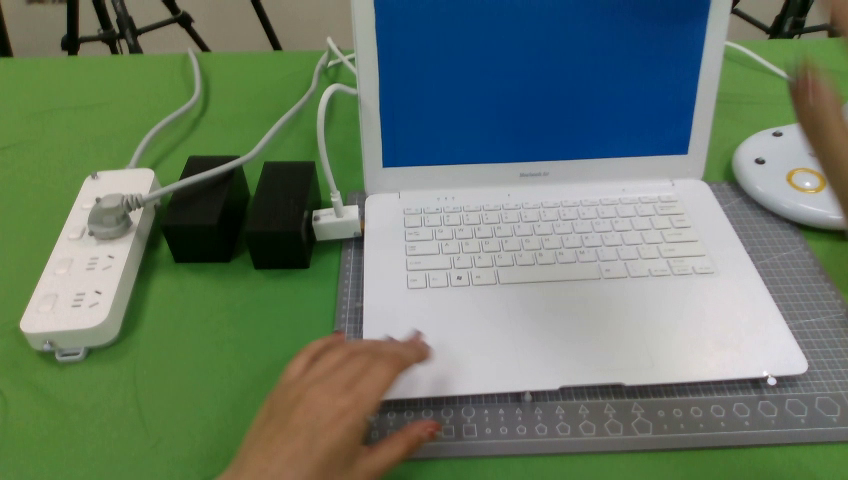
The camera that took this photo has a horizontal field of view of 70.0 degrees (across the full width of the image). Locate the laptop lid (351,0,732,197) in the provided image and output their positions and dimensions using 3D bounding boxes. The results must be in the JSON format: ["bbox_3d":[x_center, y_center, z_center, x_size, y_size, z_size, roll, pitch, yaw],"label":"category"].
[{"bbox_3d":[0.112,-0.157,0.582,0.357,0.243,0.013,-4,24,-2],"label":"laptop lid"}]

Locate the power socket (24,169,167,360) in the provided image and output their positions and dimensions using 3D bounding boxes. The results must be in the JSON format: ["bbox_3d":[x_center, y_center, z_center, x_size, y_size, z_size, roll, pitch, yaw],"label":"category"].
[{"bbox_3d":[-0.297,0.009,0.564,0.072,0.033,0.224,-3,44,-4],"label":"power socket"}]

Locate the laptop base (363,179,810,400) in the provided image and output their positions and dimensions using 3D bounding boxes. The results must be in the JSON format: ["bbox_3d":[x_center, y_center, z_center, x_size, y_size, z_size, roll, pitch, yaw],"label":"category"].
[{"bbox_3d":[0.123,0.033,0.548,0.354,0.023,0.233,-3,48,-2],"label":"laptop base"}]

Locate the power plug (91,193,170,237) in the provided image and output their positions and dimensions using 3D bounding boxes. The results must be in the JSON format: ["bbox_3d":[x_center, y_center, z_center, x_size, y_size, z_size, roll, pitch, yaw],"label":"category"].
[{"bbox_3d":[-0.268,-0.016,0.556,0.072,0.053,0.035,4,45,4],"label":"power plug"}]

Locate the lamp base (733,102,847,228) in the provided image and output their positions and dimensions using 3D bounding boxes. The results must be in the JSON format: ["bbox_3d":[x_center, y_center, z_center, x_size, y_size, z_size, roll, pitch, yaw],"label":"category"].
[{"bbox_3d":[0.418,-0.131,0.596,0.159,0.182,0.179,27,47,26],"label":"lamp base"}]

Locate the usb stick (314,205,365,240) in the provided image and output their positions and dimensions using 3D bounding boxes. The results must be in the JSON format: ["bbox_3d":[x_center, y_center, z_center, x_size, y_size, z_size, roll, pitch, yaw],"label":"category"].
[{"bbox_3d":[-0.074,-0.018,0.583,0.059,0.027,0.021,-4,45,-3],"label":"usb stick"}]
